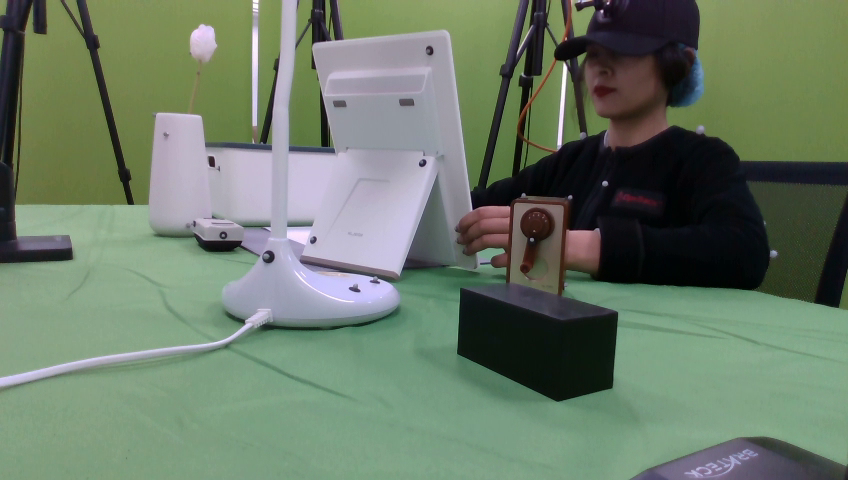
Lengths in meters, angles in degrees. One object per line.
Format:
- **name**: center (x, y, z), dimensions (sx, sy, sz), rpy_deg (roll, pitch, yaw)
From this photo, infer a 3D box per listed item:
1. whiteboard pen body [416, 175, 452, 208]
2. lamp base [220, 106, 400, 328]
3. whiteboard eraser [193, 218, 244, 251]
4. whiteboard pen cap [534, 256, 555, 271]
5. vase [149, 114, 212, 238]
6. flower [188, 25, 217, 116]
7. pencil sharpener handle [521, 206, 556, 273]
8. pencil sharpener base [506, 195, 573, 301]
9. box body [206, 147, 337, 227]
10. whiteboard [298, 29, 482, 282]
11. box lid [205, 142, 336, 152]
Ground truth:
- **whiteboard pen body**: center (0.016, -0.080, 1.001), dimensions (0.017, 0.017, 0.141), rpy_deg (6, 27, 22)
- **lamp base**: center (-0.101, -0.023, 0.531), dimensions (0.160, 0.180, 0.179), rpy_deg (4, 10, 10)
- **whiteboard eraser**: center (-0.307, -0.009, 0.900), dimensions (0.056, 0.042, 0.112), rpy_deg (-4, 11, -28)
- **whiteboard pen cap**: center (0.166, 0.032, 0.839), dimensions (0.018, 0.018, 0.033), rpy_deg (-1, 7, -22)
- **vase**: center (-0.405, -0.106, 1.005), dimensions (0.098, 0.200, 0.098), rpy_deg (2, 6, 0)
- **flower**: center (-0.394, -0.189, 1.011), dimensions (0.044, 0.361, 0.038), rpy_deg (-1, -13, 27)
- **pencil sharpener handle**: center (0.112, 0.000, 0.612), dimensions (0.036, 0.067, 0.031), rpy_deg (13, 10, 14)
- **pencil sharpener base**: center (0.127, 0.007, 0.663), dimensions (0.061, 0.107, 0.077), rpy_deg (5, 8, 15)
- **box body**: center (-0.276, -0.122, 1.320), dimensions (0.366, 0.160, 0.253), rpy_deg (-2, 9, -30)
- **whiteboard**: center (-0.075, -0.082, 0.743), dimensions (0.216, 0.305, 0.144), rpy_deg (8, 29, 36)
- **box lid**: center (-0.270, -0.196, 1.310), dimensions (0.373, 0.015, 0.262), rpy_deg (-2, 9, -30)
